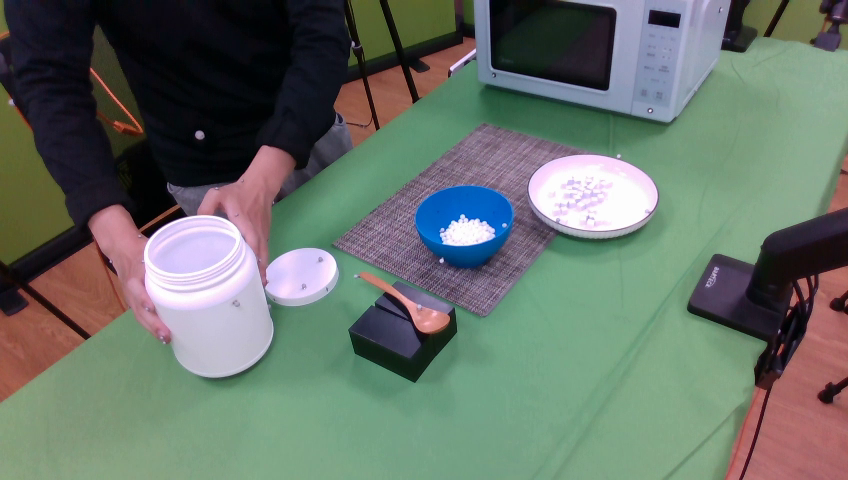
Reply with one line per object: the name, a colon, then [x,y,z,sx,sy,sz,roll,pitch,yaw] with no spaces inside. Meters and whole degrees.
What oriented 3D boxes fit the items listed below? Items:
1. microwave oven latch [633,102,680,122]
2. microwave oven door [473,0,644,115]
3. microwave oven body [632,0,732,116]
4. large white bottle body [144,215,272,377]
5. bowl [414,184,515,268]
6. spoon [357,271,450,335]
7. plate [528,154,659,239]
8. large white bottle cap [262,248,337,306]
microwave oven latch: [0.444,-0.249,1.157,0.078,0.029,0.030,21,49,30]
microwave oven door: [0.257,-0.396,1.199,0.353,0.245,0.039,21,48,29]
microwave oven body: [0.377,-0.462,1.267,0.438,0.261,0.327,21,48,30]
large white bottle body: [-0.274,0.071,0.773,0.131,0.185,0.130,1,42,0]
bowl: [0.063,-0.011,0.922,0.151,0.077,0.150,-4,40,4]
spoon: [-0.034,0.078,0.812,0.042,0.022,0.192,-36,43,-23]
plate: [0.274,-0.069,0.993,0.209,0.038,0.208,-2,42,2]
large white bottle cap: [-0.193,0.056,0.934,0.115,0.018,0.114,-4,41,4]
